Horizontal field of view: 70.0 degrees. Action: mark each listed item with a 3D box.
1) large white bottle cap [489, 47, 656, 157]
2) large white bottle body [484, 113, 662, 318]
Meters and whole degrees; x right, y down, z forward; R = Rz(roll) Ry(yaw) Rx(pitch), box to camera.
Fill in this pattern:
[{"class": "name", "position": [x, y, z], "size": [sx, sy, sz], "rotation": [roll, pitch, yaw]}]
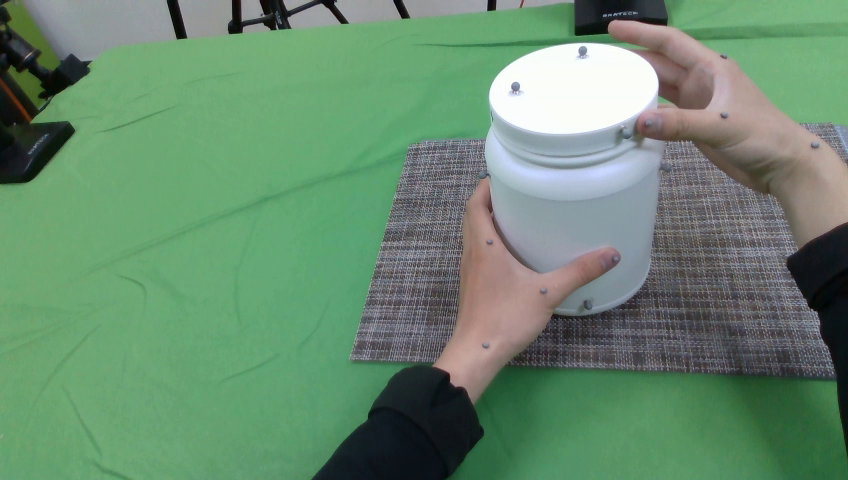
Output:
[{"class": "large white bottle cap", "position": [0.103, -0.100, 0.425], "size": [0.115, 0.018, 0.113], "rotation": [-7, 45, 7]}, {"class": "large white bottle body", "position": [0.118, -0.040, 0.487], "size": [0.130, 0.186, 0.129], "rotation": [-7, 45, 8]}]
